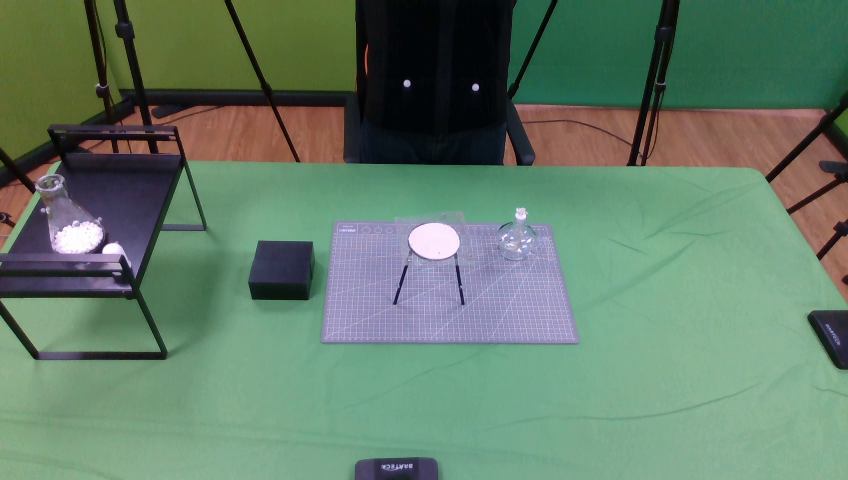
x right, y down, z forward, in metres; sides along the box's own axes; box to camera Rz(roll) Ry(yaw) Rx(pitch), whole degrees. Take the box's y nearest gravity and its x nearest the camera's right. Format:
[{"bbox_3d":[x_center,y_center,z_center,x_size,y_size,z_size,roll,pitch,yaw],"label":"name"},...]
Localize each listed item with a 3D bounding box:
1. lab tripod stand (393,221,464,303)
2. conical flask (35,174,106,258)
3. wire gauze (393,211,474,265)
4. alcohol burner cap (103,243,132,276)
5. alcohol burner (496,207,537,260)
[{"bbox_3d":[0.010,0.045,1.074,0.148,0.132,0.147,2,48,-2],"label":"lab tripod stand"},{"bbox_3d":[-0.518,-0.038,0.875,0.075,0.122,0.075,2,46,-2],"label":"conical flask"},{"bbox_3d":[0.015,-0.003,1.028,0.125,0.011,0.120,-4,47,-7],"label":"wire gauze"},{"bbox_3d":[-0.446,0.025,0.875,0.034,0.048,0.033,3,45,-3],"label":"alcohol burner cap"},{"bbox_3d":[0.180,-0.018,1.163,0.078,0.120,0.077,1,48,-1],"label":"alcohol burner"}]
